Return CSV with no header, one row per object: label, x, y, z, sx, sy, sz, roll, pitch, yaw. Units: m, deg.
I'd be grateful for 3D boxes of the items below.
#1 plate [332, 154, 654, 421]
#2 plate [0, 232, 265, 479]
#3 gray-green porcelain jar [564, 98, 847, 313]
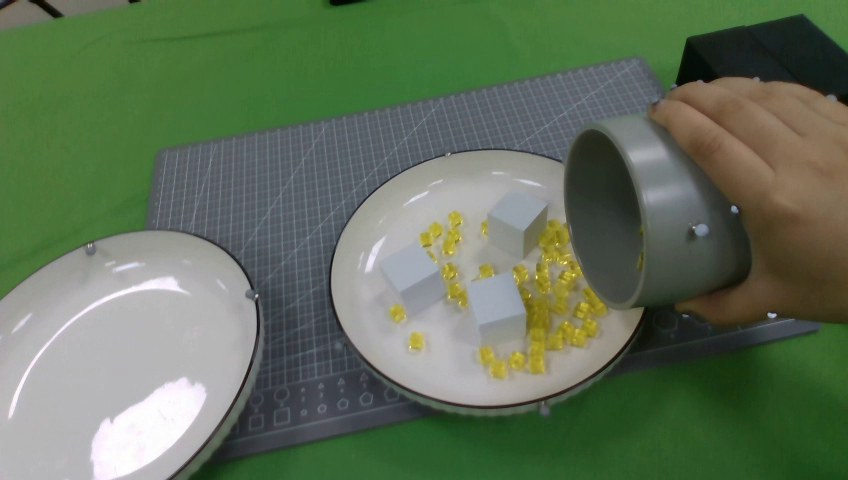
plate,0.044,0.026,0.406,0.207,0.039,0.205,-4,51,5
plate,-0.201,0.085,0.390,0.209,0.038,0.207,-4,51,6
gray-green porcelain jar,0.158,-0.021,0.341,0.127,0.107,0.104,-10,50,-7
